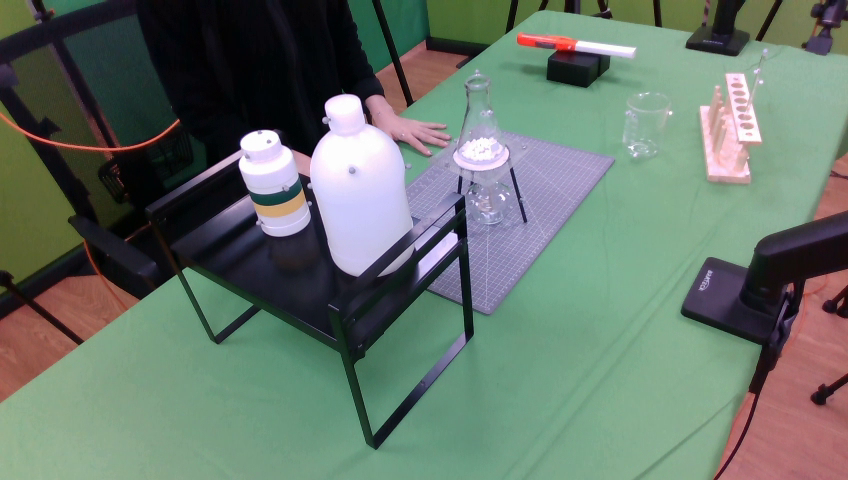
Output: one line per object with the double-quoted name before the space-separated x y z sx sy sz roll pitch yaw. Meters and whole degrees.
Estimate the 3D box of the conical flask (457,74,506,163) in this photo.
"conical flask" 0.082 -0.181 0.893 0.075 0.122 0.075 -4 41 4

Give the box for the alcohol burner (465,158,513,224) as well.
"alcohol burner" 0.105 -0.085 0.987 0.078 0.119 0.077 -5 43 5

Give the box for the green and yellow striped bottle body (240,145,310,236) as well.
"green and yellow striped bottle body" -0.181 -0.068 0.729 0.063 0.120 0.063 -4 40 4

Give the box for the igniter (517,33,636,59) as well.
"igniter" 0.336 -0.441 1.369 0.275 0.025 0.057 17 41 24

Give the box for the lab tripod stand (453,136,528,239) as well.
"lab tripod stand" 0.095 -0.086 0.974 0.148 0.132 0.147 -4 43 4

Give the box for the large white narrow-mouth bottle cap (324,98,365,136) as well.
"large white narrow-mouth bottle cap" -0.076 -0.120 0.585 0.038 0.024 0.037 -3 42 3

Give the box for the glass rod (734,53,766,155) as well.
"glass rod" 0.540 -0.220 1.007 0.008 0.201 0.008 -5 45 6

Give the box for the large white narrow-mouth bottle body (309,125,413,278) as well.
"large white narrow-mouth bottle body" -0.068 -0.057 0.645 0.102 0.195 0.101 -3 42 4

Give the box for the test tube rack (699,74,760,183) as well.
"test tube rack" 0.547 -0.208 1.095 0.066 0.085 0.242 6 42 16

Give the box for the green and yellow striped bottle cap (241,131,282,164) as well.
"green and yellow striped bottle cap" -0.187 -0.107 0.695 0.045 0.020 0.045 -3 39 3

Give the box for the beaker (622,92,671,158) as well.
"beaker" 0.402 -0.209 1.106 0.074 0.101 0.083 -9 40 -2

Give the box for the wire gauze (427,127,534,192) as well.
"wire gauze" 0.086 -0.130 0.925 0.124 0.011 0.122 28 54 31

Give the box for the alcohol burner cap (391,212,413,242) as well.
"alcohol burner cap" -0.038 -0.023 0.989 0.034 0.048 0.033 -5 40 5
